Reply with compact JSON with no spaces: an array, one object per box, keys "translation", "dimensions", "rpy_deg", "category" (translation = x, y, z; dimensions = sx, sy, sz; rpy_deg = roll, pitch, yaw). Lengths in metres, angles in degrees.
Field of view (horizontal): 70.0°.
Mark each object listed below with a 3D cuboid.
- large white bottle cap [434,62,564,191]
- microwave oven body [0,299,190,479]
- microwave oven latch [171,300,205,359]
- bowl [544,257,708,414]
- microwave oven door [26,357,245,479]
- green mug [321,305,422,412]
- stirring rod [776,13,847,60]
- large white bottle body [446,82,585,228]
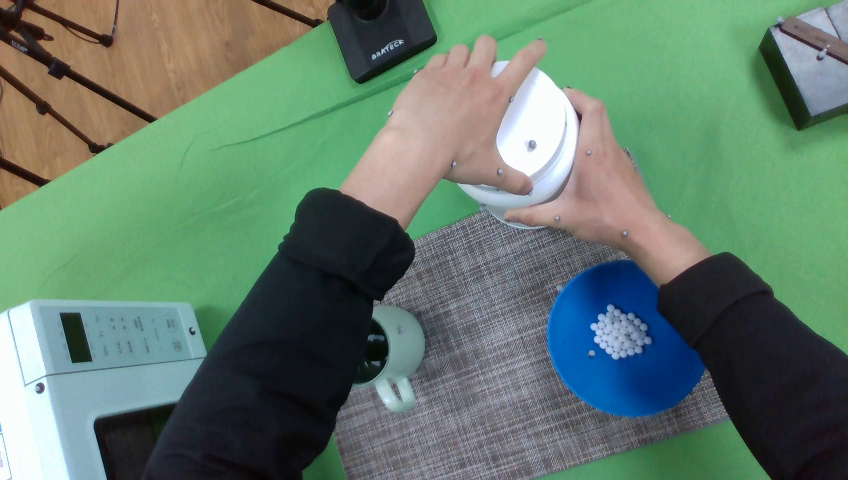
[{"translation":[0.064,-0.100,0.533],"dimensions":[0.114,0.018,0.114],"rpy_deg":[-3,81,19],"category":"large white bottle cap"},{"translation":[-0.413,0.329,0.699],"dimensions":[0.326,0.261,0.439],"rpy_deg":[-25,78,14],"category":"microwave oven body"},{"translation":[-0.315,0.118,0.789],"dimensions":[0.030,0.029,0.079],"rpy_deg":[-25,79,14],"category":"microwave oven latch"},{"translation":[0.203,0.095,0.618],"dimensions":[0.151,0.077,0.151],"rpy_deg":[-2,84,18],"category":"bowl"},{"translation":[-0.270,0.307,0.650],"dimensions":[0.039,0.245,0.354],"rpy_deg":[-25,78,14],"category":"microwave oven door"},{"translation":[-0.049,0.134,0.682],"dimensions":[0.092,0.105,0.124],"rpy_deg":[-32,76,12],"category":"green mug"},{"translation":[0.410,-0.165,0.560],"dimensions":[0.175,0.006,0.014],"rpy_deg":[36,131,17],"category":"stirring rod"},{"translation":[0.093,-0.089,0.615],"dimensions":[0.130,0.186,0.130],"rpy_deg":[-2,82,17],"category":"large white bottle body"}]
